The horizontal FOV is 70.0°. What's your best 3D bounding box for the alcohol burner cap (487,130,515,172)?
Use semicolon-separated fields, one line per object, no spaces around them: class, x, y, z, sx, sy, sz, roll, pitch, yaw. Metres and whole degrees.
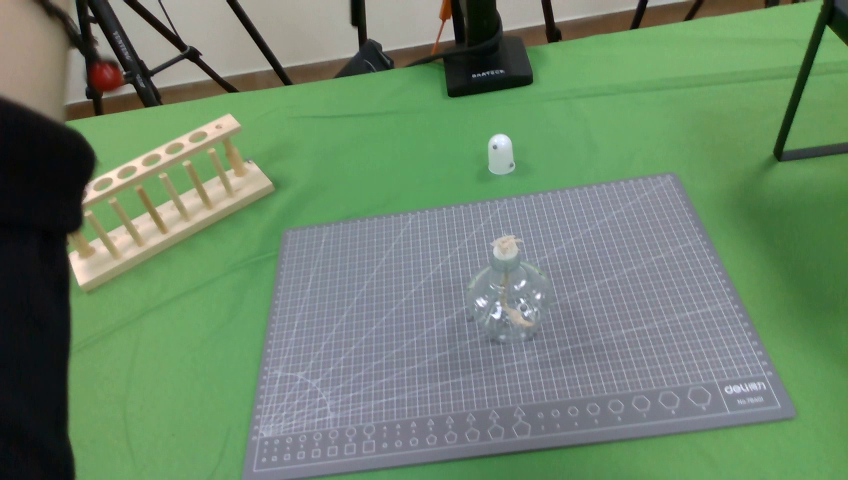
alcohol burner cap;0.090;-0.107;0.714;0.034;0.048;0.033;-6;48;8

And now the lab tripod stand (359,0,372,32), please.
lab tripod stand;0.017;-0.174;0.244;0.148;0.132;0.147;-2;62;4

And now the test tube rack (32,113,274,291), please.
test tube rack;-0.309;-0.049;0.713;0.242;0.086;0.066;-32;50;-18

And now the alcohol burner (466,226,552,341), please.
alcohol burner;0.074;0.034;0.533;0.078;0.120;0.077;-7;45;7
